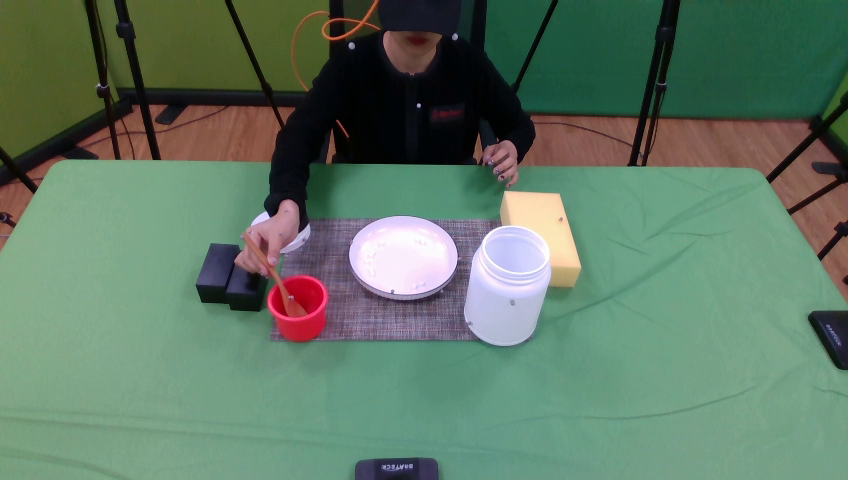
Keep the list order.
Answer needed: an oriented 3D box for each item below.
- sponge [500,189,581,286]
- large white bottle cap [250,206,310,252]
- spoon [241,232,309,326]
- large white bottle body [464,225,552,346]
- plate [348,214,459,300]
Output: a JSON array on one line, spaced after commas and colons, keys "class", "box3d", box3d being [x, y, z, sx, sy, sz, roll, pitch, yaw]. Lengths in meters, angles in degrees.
[{"class": "sponge", "box3d": [0.224, -0.007, 1.192, 0.118, 0.061, 0.205, 1, 47, -6]}, {"class": "large white bottle cap", "box3d": [-0.284, -0.023, 1.197, 0.115, 0.018, 0.114, 1, 46, 0]}, {"class": "spoon", "box3d": [-0.246, 0.065, 1.006, 0.021, 0.194, 0.041, -15, 25, 23]}, {"class": "large white bottle body", "box3d": [0.141, 0.076, 1.017, 0.131, 0.185, 0.130, 2, 46, -2]}, {"class": "plate", "box3d": [-0.040, 0.034, 1.146, 0.209, 0.038, 0.208, 2, 46, -2]}]
